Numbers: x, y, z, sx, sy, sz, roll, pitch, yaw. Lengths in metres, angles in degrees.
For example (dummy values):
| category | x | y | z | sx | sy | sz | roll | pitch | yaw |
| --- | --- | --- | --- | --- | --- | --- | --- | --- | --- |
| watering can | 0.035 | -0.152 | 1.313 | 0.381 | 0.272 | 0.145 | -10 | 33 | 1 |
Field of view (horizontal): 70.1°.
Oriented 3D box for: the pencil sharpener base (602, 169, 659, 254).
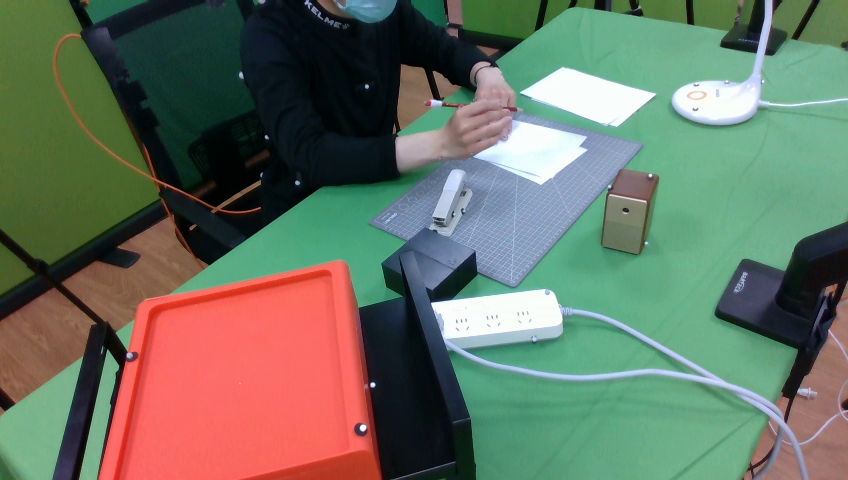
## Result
| category | x | y | z | sx | sy | sz | roll | pitch | yaw |
| --- | --- | --- | --- | --- | --- | --- | --- | --- | --- |
| pencil sharpener base | 0.312 | -0.044 | 0.914 | 0.061 | 0.107 | 0.077 | 14 | 45 | 24 |

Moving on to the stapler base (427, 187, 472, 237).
| category | x | y | z | sx | sy | sz | roll | pitch | yaw |
| --- | --- | --- | --- | --- | --- | --- | --- | --- | --- |
| stapler base | 0.045 | -0.057 | 1.028 | 0.041 | 0.024 | 0.130 | 10 | 45 | 20 |

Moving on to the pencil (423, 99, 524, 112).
| category | x | y | z | sx | sy | sz | roll | pitch | yaw |
| --- | --- | --- | --- | --- | --- | --- | --- | --- | --- |
| pencil | 0.089 | -0.230 | 1.042 | 0.195 | 0.012 | 0.012 | 0 | 37 | -22 |

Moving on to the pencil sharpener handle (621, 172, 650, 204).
| category | x | y | z | sx | sy | sz | roll | pitch | yaw |
| --- | --- | --- | --- | --- | --- | --- | --- | --- | --- |
| pencil sharpener handle | 0.328 | -0.086 | 0.941 | 0.036 | 0.068 | 0.030 | 30 | 49 | 8 |

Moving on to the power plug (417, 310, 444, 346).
| category | x | y | z | sx | sy | sz | roll | pitch | yaw |
| --- | --- | --- | --- | --- | --- | --- | --- | --- | --- |
| power plug | 0.006 | 0.122 | 0.785 | 0.035 | 0.053 | 0.072 | -1 | 40 | 9 |

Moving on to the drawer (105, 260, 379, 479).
| category | x | y | z | sx | sy | sz | roll | pitch | yaw |
| --- | --- | --- | --- | --- | --- | --- | --- | --- | --- |
| drawer | -0.150 | 0.127 | 0.525 | 0.195 | 0.073 | 0.210 | -11 | 41 | -5 |

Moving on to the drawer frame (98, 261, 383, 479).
| category | x | y | z | sx | sy | sz | roll | pitch | yaw |
| --- | --- | --- | --- | --- | --- | --- | --- | --- | --- |
| drawer frame | -0.148 | 0.129 | 0.520 | 0.202 | 0.083 | 0.212 | -12 | 41 | -6 |

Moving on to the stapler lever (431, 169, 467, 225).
| category | x | y | z | sx | sy | sz | roll | pitch | yaw |
| --- | --- | --- | --- | --- | --- | --- | --- | --- | --- |
| stapler lever | 0.043 | -0.074 | 1.010 | 0.026 | 0.040 | 0.118 | 10 | 45 | 20 |

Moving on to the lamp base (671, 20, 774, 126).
| category | x | y | z | sx | sy | sz | roll | pitch | yaw |
| --- | --- | --- | --- | --- | --- | --- | --- | --- | --- |
| lamp base | 0.581 | -0.332 | 1.154 | 0.179 | 0.181 | 0.160 | 2 | 41 | 7 |

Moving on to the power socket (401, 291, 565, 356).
| category | x | y | z | sx | sy | sz | roll | pitch | yaw |
| --- | --- | --- | --- | --- | --- | --- | --- | --- | --- |
| power socket | 0.080 | 0.112 | 0.822 | 0.227 | 0.033 | 0.072 | -6 | 41 | 0 |

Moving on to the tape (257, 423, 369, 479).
| category | x | y | z | sx | sy | sz | roll | pitch | yaw |
| --- | --- | --- | --- | --- | --- | --- | --- | --- | --- |
| tape | -0.121 | 0.262 | 0.660 | 0.117 | 0.053 | 0.116 | -4 | 40 | 4 |
